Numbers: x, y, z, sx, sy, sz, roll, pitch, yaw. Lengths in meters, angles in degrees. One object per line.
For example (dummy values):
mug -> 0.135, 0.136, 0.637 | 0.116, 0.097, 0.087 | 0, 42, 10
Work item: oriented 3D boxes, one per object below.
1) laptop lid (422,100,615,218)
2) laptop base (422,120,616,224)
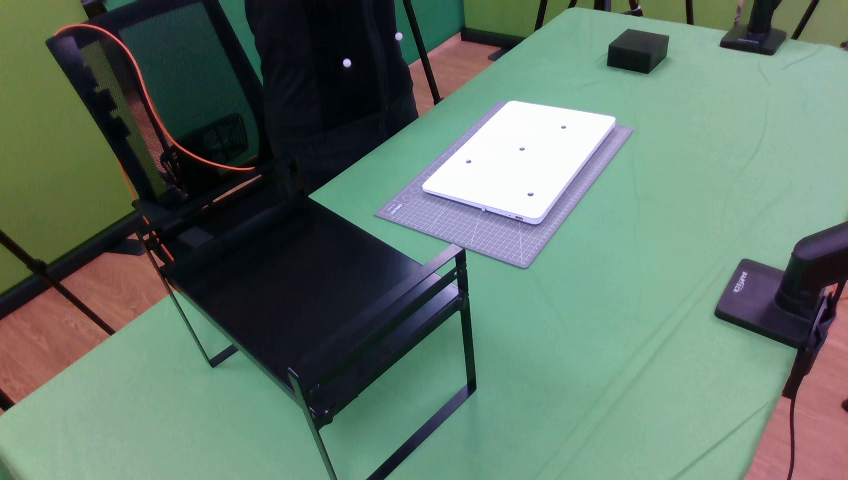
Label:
laptop lid -> 0.183, -0.167, 1.126 | 0.240, 0.013, 0.357 | 19, 47, 31
laptop base -> 0.186, -0.157, 1.133 | 0.234, 0.023, 0.355 | 17, 46, 30
